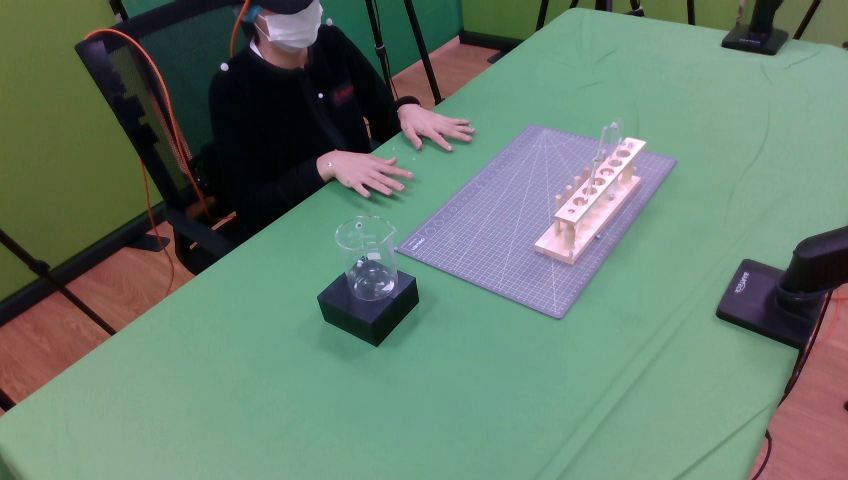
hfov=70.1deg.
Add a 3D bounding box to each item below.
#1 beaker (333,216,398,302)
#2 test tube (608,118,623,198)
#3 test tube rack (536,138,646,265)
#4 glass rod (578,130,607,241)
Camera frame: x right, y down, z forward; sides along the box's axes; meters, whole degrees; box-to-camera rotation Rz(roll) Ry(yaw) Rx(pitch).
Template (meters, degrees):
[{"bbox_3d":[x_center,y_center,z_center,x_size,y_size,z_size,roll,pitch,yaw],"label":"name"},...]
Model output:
[{"bbox_3d":[-0.072,0.028,0.816,0.084,0.100,0.073,-11,40,-5],"label":"beaker"},{"bbox_3d":[0.299,-0.124,0.945,0.017,0.151,0.017,-7,44,7],"label":"test tube"},{"bbox_3d":[0.268,-0.071,0.964,0.066,0.085,0.243,23,49,32],"label":"test tube rack"},{"bbox_3d":[0.240,-0.072,0.866,0.008,0.200,0.008,0,43,1],"label":"glass rod"}]
